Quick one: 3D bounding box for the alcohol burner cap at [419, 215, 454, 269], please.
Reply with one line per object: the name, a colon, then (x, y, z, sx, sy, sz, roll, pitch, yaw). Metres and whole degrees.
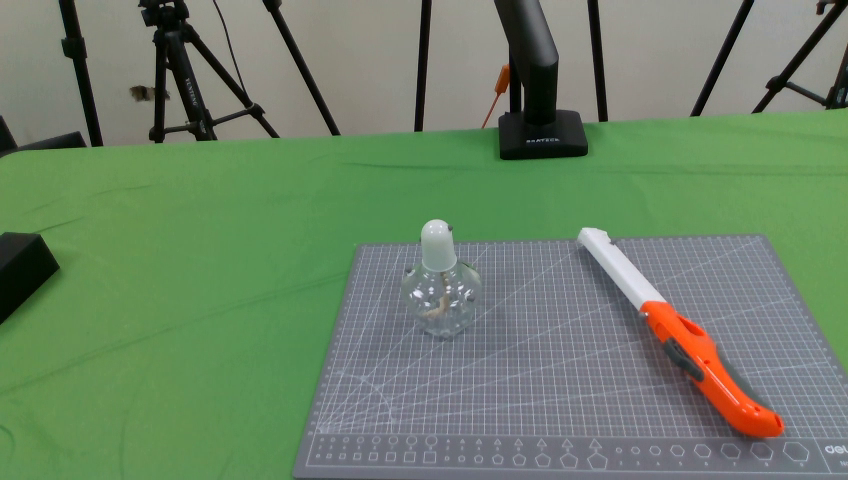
alcohol burner cap: (0.010, -0.001, 0.542, 0.034, 0.048, 0.033, -3, 41, 3)

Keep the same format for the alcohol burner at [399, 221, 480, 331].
alcohol burner: (0.014, 0.028, 0.564, 0.078, 0.120, 0.077, -3, 39, 2)

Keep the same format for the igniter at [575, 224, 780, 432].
igniter: (0.215, 0.065, 0.553, 0.057, 0.025, 0.273, 6, 31, -21)
